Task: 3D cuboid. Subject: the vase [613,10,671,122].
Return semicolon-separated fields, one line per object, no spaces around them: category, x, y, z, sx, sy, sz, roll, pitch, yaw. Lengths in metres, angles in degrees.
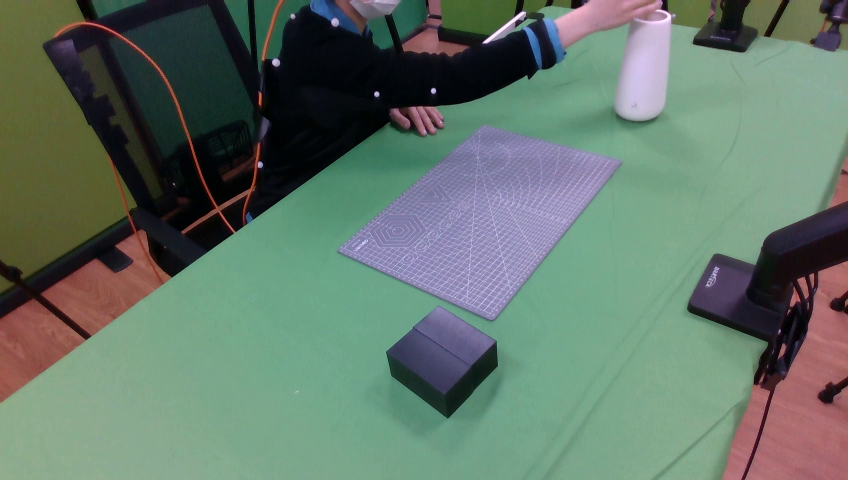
vase;0.419;-0.326;1.151;0.098;0.201;0.097;-4;42;4

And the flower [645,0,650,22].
flower;0.383;-0.454;1.033;0.038;0.364;0.044;2;43;21
